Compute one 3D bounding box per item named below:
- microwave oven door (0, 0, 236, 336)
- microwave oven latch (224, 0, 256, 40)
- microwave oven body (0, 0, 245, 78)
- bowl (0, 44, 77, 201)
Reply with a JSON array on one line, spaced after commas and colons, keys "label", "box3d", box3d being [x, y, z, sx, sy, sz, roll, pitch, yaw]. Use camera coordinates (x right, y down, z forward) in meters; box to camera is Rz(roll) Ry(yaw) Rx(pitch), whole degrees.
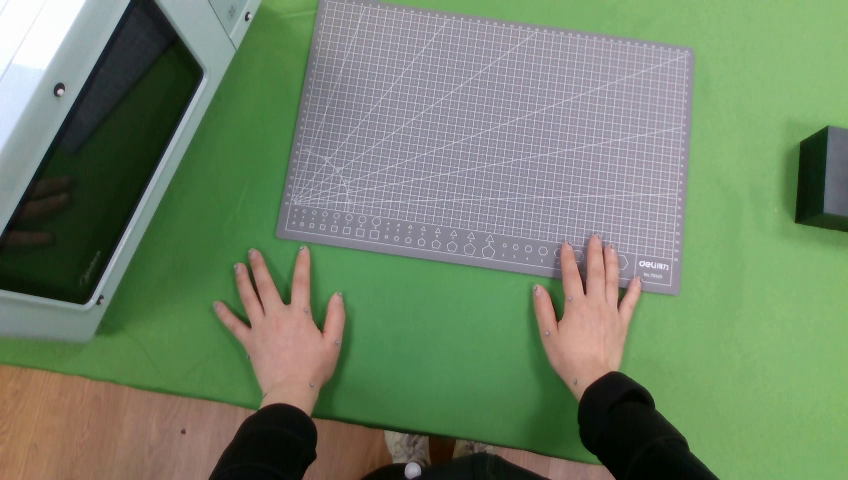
[{"label": "microwave oven door", "box3d": [-0.291, -0.088, 0.541, 0.039, 0.244, 0.355, 22, 79, 3]}, {"label": "microwave oven latch", "box3d": [-0.208, -0.267, 0.679, 0.030, 0.029, 0.079, 23, 80, 2]}, {"label": "microwave oven body", "box3d": [-0.410, -0.180, 0.559, 0.326, 0.261, 0.440, 22, 80, 2]}, {"label": "bowl", "box3d": [-0.394, -0.099, 0.576, 0.151, 0.077, 0.150, 0, 77, 1]}]
